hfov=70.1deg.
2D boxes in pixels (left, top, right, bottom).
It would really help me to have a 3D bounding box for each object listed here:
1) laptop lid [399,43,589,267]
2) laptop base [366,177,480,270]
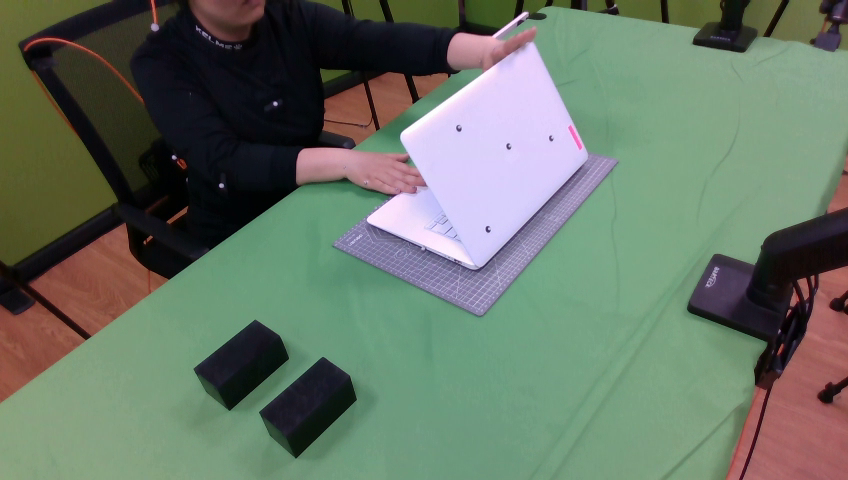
[{"bbox_3d":[0.131,-0.147,0.961,0.358,0.242,0.013,-40,17,-35],"label":"laptop lid"},{"bbox_3d":[0.098,-0.085,1.058,0.233,0.023,0.355,21,47,34],"label":"laptop base"}]
